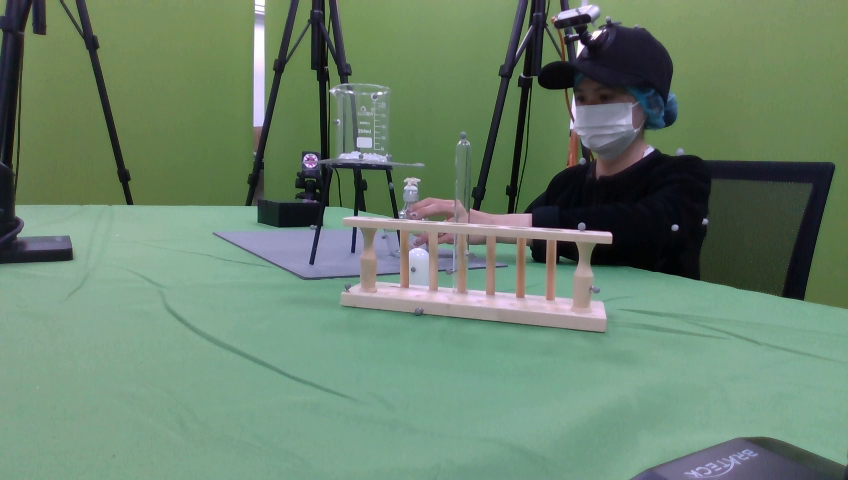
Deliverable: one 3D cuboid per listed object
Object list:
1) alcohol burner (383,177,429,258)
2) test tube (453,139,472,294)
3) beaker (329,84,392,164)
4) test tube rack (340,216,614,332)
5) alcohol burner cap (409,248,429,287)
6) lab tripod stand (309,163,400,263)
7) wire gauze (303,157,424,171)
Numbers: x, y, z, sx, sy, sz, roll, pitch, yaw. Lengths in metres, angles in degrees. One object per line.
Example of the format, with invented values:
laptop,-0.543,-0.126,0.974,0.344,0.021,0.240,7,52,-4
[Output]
alcohol burner,-0.020,-0.033,0.881,0.078,0.119,0.078,3,6,0
test tube,0.037,-0.021,0.584,0.017,0.150,0.017,1,7,0
beaker,-0.084,-0.149,0.794,0.084,0.100,0.073,-1,6,-23
test tube rack,0.048,0.026,0.568,0.242,0.085,0.067,4,8,13
alcohol burner cap,-0.008,0.032,0.674,0.034,0.048,0.034,3,6,0
lab tripod stand,-0.091,-0.037,0.813,0.148,0.131,0.148,1,6,0
wire gauze,-0.082,-0.102,0.799,0.126,0.011,0.121,1,7,-30
